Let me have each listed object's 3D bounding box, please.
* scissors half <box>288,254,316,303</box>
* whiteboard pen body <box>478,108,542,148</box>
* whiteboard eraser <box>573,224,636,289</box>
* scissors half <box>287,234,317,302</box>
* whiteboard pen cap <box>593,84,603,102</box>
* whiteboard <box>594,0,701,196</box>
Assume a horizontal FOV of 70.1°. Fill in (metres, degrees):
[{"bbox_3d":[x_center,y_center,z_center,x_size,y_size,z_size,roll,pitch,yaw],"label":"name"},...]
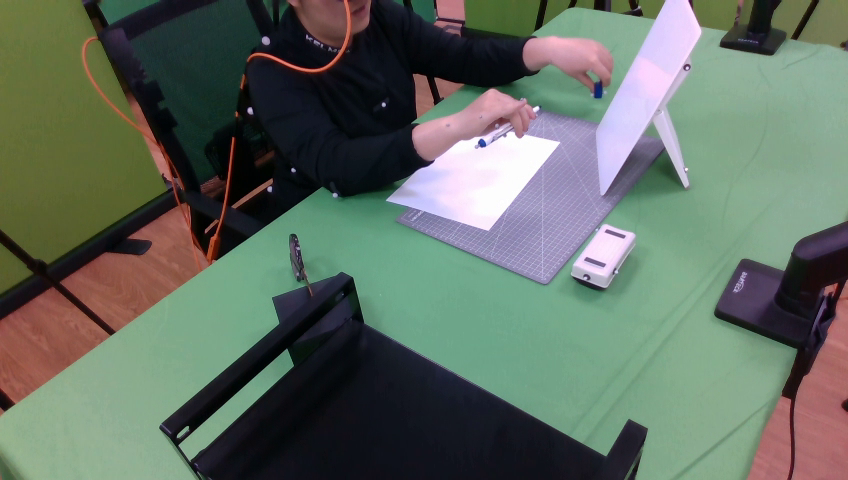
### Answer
[{"bbox_3d":[-0.178,0.058,0.894,0.013,0.040,0.174,-16,21,-17],"label":"scissors half"},{"bbox_3d":[0.143,-0.186,0.984,0.141,0.017,0.017,-33,46,-24],"label":"whiteboard pen body"},{"bbox_3d":[0.267,0.025,0.891,0.055,0.042,0.113,19,47,31],"label":"whiteboard eraser"},{"bbox_3d":[-0.179,0.040,0.885,0.013,0.040,0.173,-11,36,-20],"label":"scissors half"},{"bbox_3d":[0.357,-0.303,1.242,0.018,0.033,0.018,-4,28,2],"label":"whiteboard pen cap"},{"bbox_3d":[0.420,-0.227,1.010,0.144,0.305,0.216,18,42,-2],"label":"whiteboard"}]
